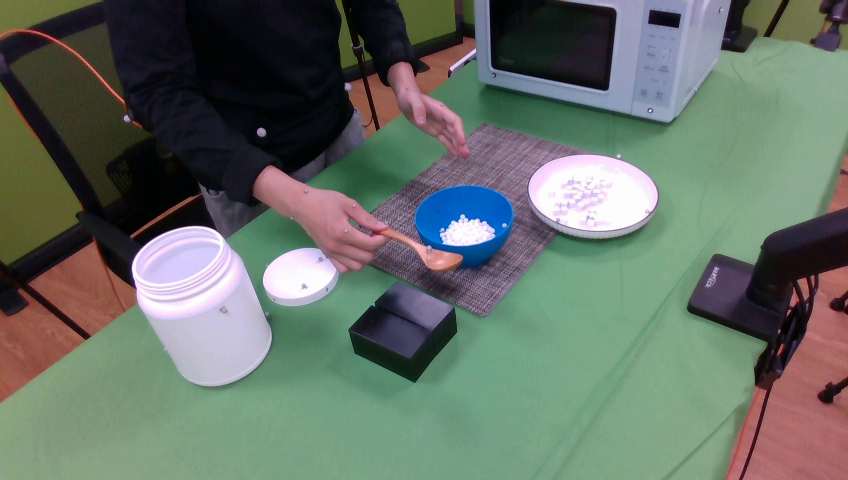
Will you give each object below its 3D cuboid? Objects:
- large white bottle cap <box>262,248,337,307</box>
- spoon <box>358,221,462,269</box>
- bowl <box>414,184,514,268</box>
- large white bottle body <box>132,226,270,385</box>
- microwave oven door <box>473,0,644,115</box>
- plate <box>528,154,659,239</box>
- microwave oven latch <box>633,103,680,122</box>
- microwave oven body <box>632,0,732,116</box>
[{"bbox_3d":[-0.193,0.056,0.933,0.115,0.018,0.114,-5,41,4],"label":"large white bottle cap"},{"bbox_3d":[-0.024,0.001,0.791,0.042,0.022,0.192,-31,40,-33],"label":"spoon"},{"bbox_3d":[0.063,-0.010,0.923,0.151,0.077,0.150,-4,40,4],"label":"bowl"},{"bbox_3d":[-0.286,0.085,0.783,0.130,0.185,0.130,-4,41,4],"label":"large white bottle body"},{"bbox_3d":[0.257,-0.396,1.199,0.353,0.245,0.039,21,48,29],"label":"microwave oven door"},{"bbox_3d":[0.274,-0.069,0.993,0.209,0.038,0.208,-2,42,2],"label":"plate"},{"bbox_3d":[0.443,-0.249,1.157,0.078,0.029,0.030,21,49,30],"label":"microwave oven latch"},{"bbox_3d":[0.377,-0.463,1.267,0.438,0.261,0.327,21,49,30],"label":"microwave oven body"}]
